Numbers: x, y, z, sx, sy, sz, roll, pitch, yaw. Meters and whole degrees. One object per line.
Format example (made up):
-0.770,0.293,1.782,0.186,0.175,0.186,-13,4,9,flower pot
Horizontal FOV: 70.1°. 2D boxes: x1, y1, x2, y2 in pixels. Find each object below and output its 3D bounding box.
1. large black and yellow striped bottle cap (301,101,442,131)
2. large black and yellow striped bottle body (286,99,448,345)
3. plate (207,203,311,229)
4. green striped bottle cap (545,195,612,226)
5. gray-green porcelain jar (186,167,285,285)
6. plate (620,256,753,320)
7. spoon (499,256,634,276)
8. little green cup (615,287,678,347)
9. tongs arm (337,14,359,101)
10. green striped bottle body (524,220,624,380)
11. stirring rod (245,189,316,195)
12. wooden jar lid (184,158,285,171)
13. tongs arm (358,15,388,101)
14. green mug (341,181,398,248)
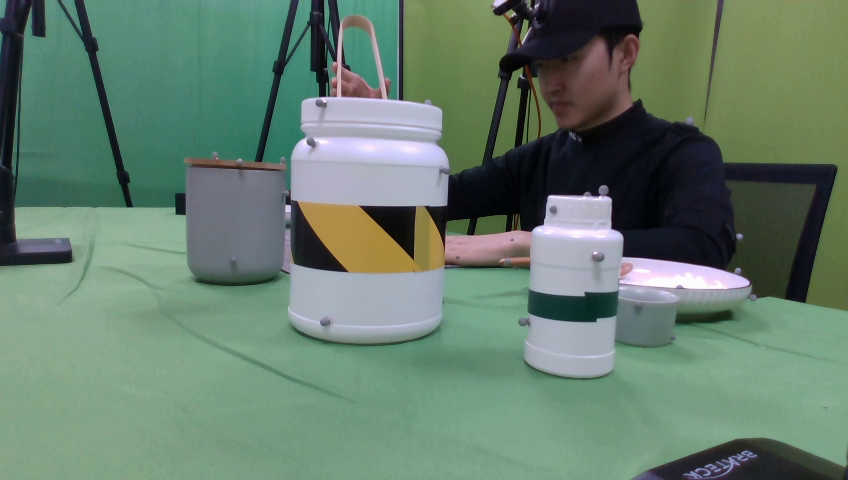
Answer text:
-0.042,-0.100,0.491,0.115,0.019,0.115,1,8,0,large black and yellow striped bottle cap
-0.047,-0.018,0.501,0.131,0.184,0.130,2,7,0,large black and yellow striped bottle body
-0.342,-0.050,1.259,0.208,0.039,0.207,3,7,0,plate
0.105,-0.020,0.415,0.044,0.020,0.044,2,5,0,green striped bottle cap
-0.212,-0.017,0.682,0.106,0.126,0.106,2,7,0,gray-green porcelain jar
0.234,0.049,0.651,0.209,0.038,0.209,2,7,0,plate
0.162,0.027,0.679,0.195,0.021,0.041,8,2,-30,spoon
0.180,0.064,0.506,0.061,0.038,0.061,1,8,0,little green cup
-0.130,-0.268,1.061,0.051,0.383,0.026,0,-34,-12,tongs arm
0.104,0.031,0.422,0.063,0.119,0.063,2,8,0,green striped bottle body
-0.351,-0.119,1.489,0.177,0.014,0.006,-2,6,-28,stirring rod
-0.210,-0.078,0.674,0.108,0.020,0.108,5,6,0,wooden jar lid
-0.082,-0.267,1.072,0.028,0.386,0.028,-5,-33,-11,tongs arm
-0.089,-0.044,0.997,0.093,0.105,0.125,1,7,-8,green mug
